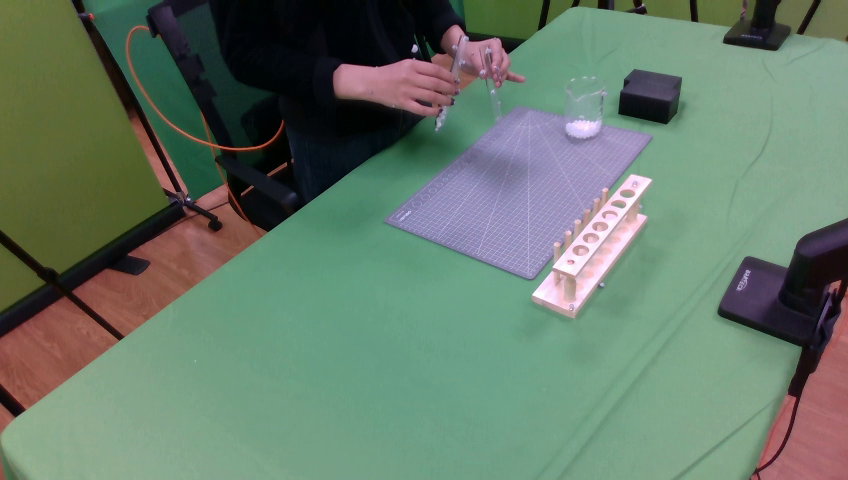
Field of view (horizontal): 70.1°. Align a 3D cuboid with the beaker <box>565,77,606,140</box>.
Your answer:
[{"bbox_3d":[0.304,-0.247,1.153,0.073,0.101,0.084,15,46,27],"label":"beaker"}]

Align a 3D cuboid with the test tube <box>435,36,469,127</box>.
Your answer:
[{"bbox_3d":[0.045,-0.259,0.991,0.017,0.150,0.017,16,10,-2],"label":"test tube"}]

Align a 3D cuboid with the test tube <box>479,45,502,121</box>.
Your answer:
[{"bbox_3d":[0.120,-0.275,1.075,0.017,0.151,0.017,-11,43,11],"label":"test tube"}]

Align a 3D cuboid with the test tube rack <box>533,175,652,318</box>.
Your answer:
[{"bbox_3d":[0.250,-0.001,0.889,0.066,0.085,0.243,22,49,33],"label":"test tube rack"}]
